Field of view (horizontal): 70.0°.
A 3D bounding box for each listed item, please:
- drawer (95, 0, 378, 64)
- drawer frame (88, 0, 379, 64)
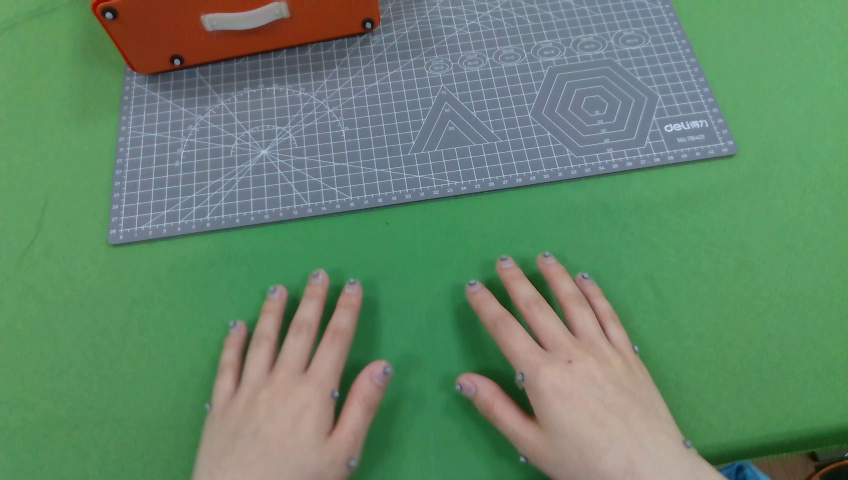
[{"bbox_3d":[-0.154,-0.258,0.493,0.194,0.074,0.210,-13,64,-3],"label":"drawer"},{"bbox_3d":[-0.156,-0.261,0.494,0.202,0.083,0.211,-13,64,-4],"label":"drawer frame"}]
